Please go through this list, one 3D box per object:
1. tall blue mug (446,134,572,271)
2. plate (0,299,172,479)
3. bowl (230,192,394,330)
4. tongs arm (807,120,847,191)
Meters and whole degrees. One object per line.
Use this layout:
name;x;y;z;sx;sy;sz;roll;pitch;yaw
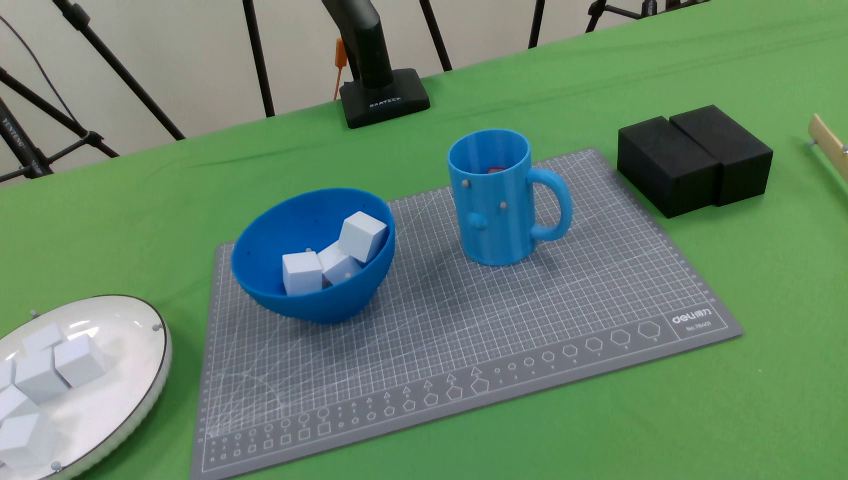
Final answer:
tall blue mug;0.082;-0.036;0.575;0.107;0.109;0.077;-7;40;7
plate;-0.323;0.139;0.537;0.209;0.038;0.207;-7;40;6
bowl;-0.094;0.031;0.568;0.151;0.077;0.150;-7;40;7
tongs arm;0.418;0.008;0.495;0.051;0.027;0.381;-2;41;7
